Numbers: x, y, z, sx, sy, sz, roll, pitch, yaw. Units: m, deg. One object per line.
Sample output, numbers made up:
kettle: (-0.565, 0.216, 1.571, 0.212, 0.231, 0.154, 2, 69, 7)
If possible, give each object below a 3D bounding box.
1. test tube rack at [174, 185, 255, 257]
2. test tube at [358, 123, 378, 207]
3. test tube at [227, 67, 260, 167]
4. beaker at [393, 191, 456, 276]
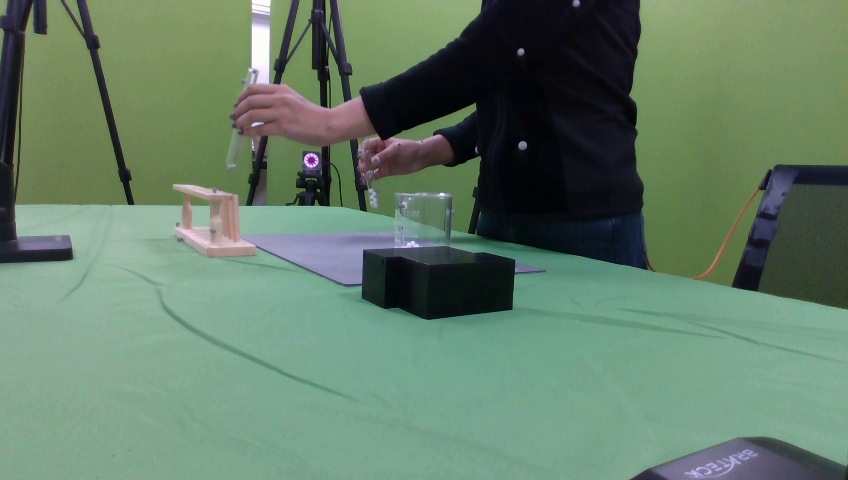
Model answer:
test tube rack: (-0.324, -0.035, 0.922, 0.067, 0.085, 0.241, -2, 9, -32)
test tube: (-0.099, -0.132, 1.070, 0.017, 0.150, 0.017, -7, 15, 2)
test tube: (-0.268, -0.182, 0.896, 0.017, 0.150, 0.017, 14, 0, 0)
beaker: (-0.004, -0.010, 0.749, 0.074, 0.100, 0.083, -3, 9, -40)
